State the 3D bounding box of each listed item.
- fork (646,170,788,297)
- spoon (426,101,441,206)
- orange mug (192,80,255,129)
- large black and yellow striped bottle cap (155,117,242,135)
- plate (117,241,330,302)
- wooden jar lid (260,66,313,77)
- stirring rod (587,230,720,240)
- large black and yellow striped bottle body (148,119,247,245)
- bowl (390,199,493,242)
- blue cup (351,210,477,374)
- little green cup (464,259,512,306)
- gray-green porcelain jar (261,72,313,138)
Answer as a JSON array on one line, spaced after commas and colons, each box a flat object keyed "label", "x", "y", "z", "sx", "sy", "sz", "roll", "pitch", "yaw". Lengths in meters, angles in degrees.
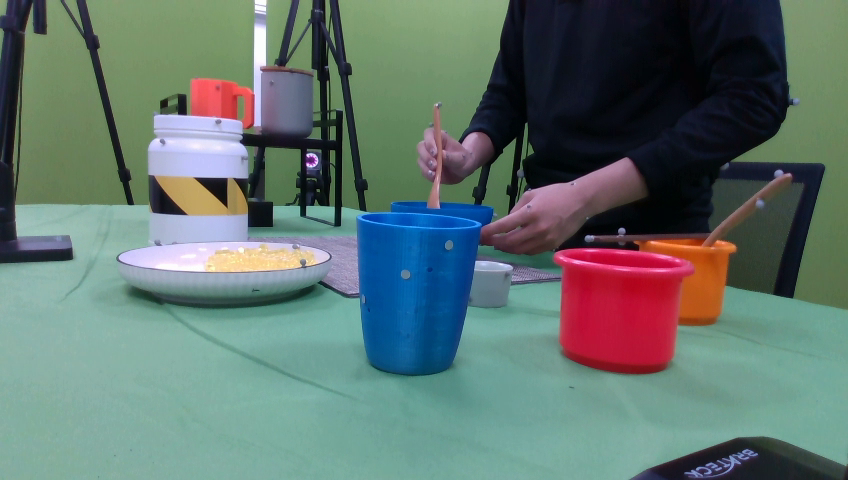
[{"label": "fork", "x": 0.256, "y": 0.004, "z": 0.543, "sx": 0.028, "sy": 0.018, "sz": 0.207, "roll": 3, "pitch": -36, "yaw": -9}, {"label": "spoon", "x": 0.016, "y": -0.109, "z": 0.877, "sx": 0.022, "sy": 0.193, "sz": 0.041, "roll": 6, "pitch": -11, "yaw": -19}, {"label": "orange mug", "x": -0.389, "y": -0.257, "z": 1.172, "sx": 0.126, "sy": 0.100, "sz": 0.083, "roll": 0, "pitch": 6, "yaw": 9}, {"label": "large black and yellow striped bottle cap", "x": -0.313, "y": -0.159, "z": 0.845, "sx": 0.115, "sy": 0.019, "sz": 0.115, "roll": 3, "pitch": 9, "yaw": 0}, {"label": "plate", "x": -0.203, "y": 0.031, "z": 0.630, "sx": 0.209, "sy": 0.038, "sz": 0.209, "roll": 3, "pitch": 7, "yaw": 0}, {"label": "wooden jar lid", "x": -0.283, "y": -0.339, "z": 1.244, "sx": 0.108, "sy": 0.020, "sz": 0.108, "roll": 6, "pitch": 9, "yaw": -1}, {"label": "stirring rod", "x": 0.226, "y": -0.005, "z": 0.587, "sx": 0.177, "sy": 0.006, "sz": 0.014, "roll": -2, "pitch": 9, "yaw": -29}, {"label": "large black and yellow striped bottle body", "x": -0.318, "y": -0.076, "z": 0.855, "sx": 0.131, "sy": 0.184, "sz": 0.130, "roll": 2, "pitch": 7, "yaw": 0}, {"label": "bowl", "x": 0.023, "y": -0.016, "z": 0.874, "sx": 0.151, "sy": 0.077, "sz": 0.151, "roll": 2, "pitch": 8, "yaw": 0}, {"label": "blue cup", "x": -0.009, "y": 0.034, "z": 0.414, "sx": 0.093, "sy": 0.100, "sz": 0.092, "roll": 4, "pitch": 8, "yaw": 0}, {"label": "little green cup", "x": 0.057, "y": 0.043, "z": 0.611, "sx": 0.061, "sy": 0.038, "sz": 0.061, "roll": 3, "pitch": 7, "yaw": 0}, {"label": "gray-green porcelain jar", "x": -0.284, "y": -0.276, "z": 1.253, "sx": 0.106, "sy": 0.126, "sz": 0.106, "roll": 2, "pitch": 8, "yaw": 0}]
